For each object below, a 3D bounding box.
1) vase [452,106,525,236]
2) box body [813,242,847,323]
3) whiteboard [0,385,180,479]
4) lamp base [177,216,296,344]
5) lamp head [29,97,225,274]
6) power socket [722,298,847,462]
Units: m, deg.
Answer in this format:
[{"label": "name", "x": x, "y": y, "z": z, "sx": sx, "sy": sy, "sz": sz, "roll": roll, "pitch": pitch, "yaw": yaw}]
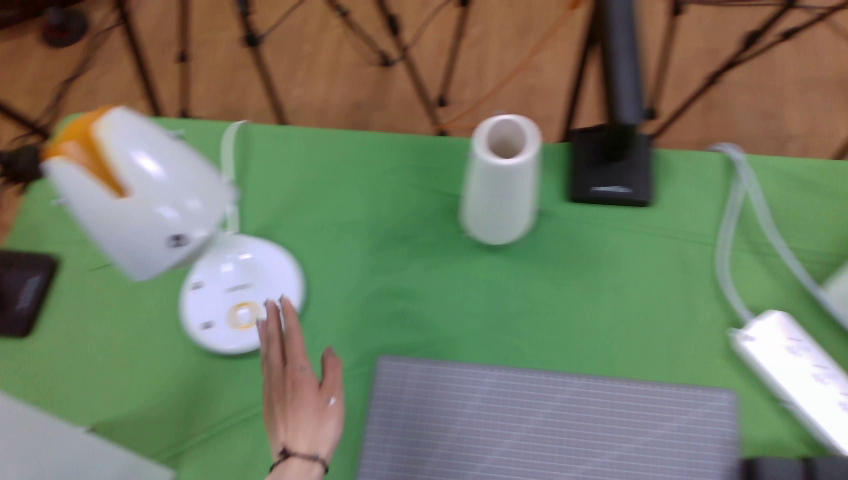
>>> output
[{"label": "vase", "x": 0.086, "y": -0.083, "z": 0.774, "sx": 0.098, "sy": 0.201, "sz": 0.097, "roll": -1, "pitch": 64, "yaw": 2}, {"label": "box body", "x": 0.687, "y": 0.078, "z": 0.689, "sx": 0.254, "sy": 0.161, "sz": 0.361, "roll": -37, "pitch": 69, "yaw": -13}, {"label": "whiteboard", "x": -0.458, "y": 0.247, "z": 0.628, "sx": 0.142, "sy": 0.309, "sz": 0.216, "roll": 26, "pitch": 69, "yaw": 35}, {"label": "lamp base", "x": -0.263, "y": 0.021, "z": 0.754, "sx": 0.161, "sy": 0.182, "sz": 0.177, "roll": -24, "pitch": 64, "yaw": -8}, {"label": "lamp head", "x": -0.241, "y": -0.053, "z": 0.483, "sx": 0.112, "sy": 0.124, "sz": 0.111, "roll": -30, "pitch": 28, "yaw": 18}, {"label": "power socket", "x": 0.467, "y": 0.167, "z": 0.732, "sx": 0.072, "sy": 0.033, "sz": 0.225, "roll": -33, "pitch": 68, "yaw": -12}]
